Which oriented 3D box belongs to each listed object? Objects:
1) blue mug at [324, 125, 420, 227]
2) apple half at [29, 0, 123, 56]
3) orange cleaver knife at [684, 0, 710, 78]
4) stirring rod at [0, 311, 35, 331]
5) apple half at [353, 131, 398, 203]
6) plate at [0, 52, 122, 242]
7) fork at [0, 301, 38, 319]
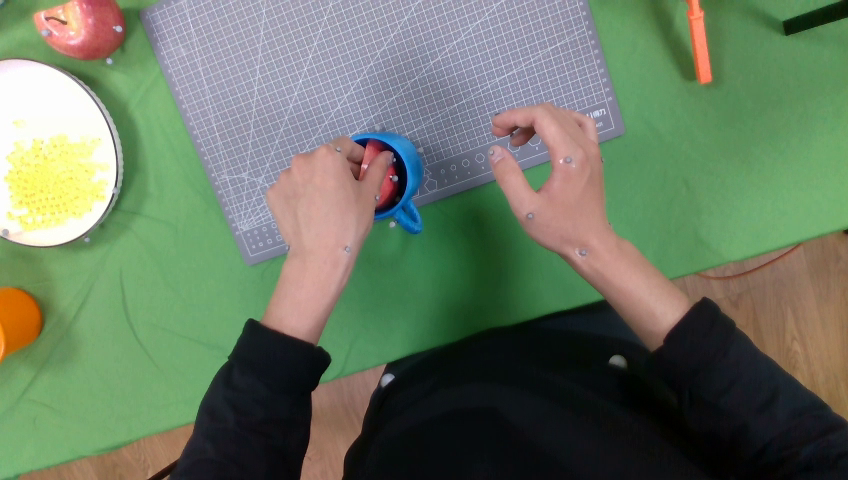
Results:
[{"bbox_3d":[-0.040,-0.063,0.623,0.082,0.105,0.117,-34,98,11],"label":"blue mug"},{"bbox_3d":[-0.354,-0.220,0.631,0.081,0.074,0.053,-15,104,4],"label":"apple half"},{"bbox_3d":[0.245,-0.257,0.571,0.012,0.076,0.213,-15,127,17],"label":"orange cleaver knife"},{"bbox_3d":[-0.541,0.115,0.684,0.176,0.006,0.014,-19,91,-33],"label":"stirring rod"},{"bbox_3d":[-0.042,-0.070,0.601,0.032,0.081,0.081,13,103,12],"label":"apple half"},{"bbox_3d":[-0.437,-0.103,0.682,0.209,0.038,0.210,1,103,5],"label":"plate"},{"bbox_3d":[-0.555,0.100,0.679,0.208,0.018,0.028,-11,104,-37],"label":"fork"}]
